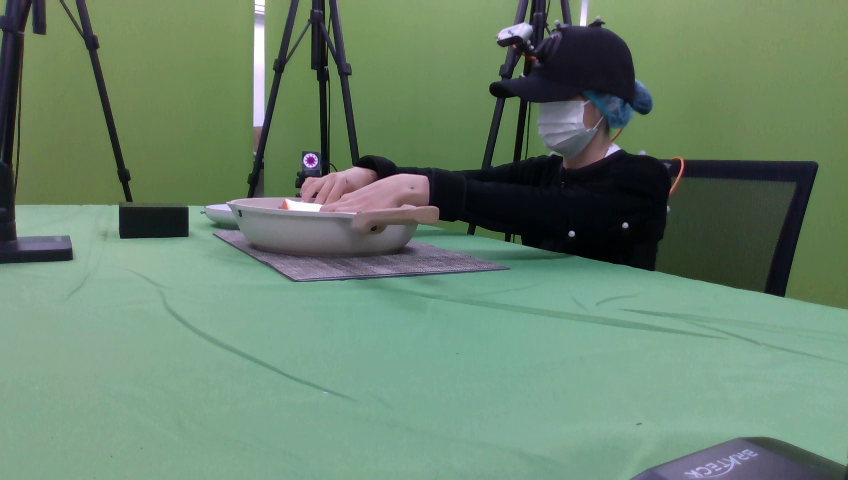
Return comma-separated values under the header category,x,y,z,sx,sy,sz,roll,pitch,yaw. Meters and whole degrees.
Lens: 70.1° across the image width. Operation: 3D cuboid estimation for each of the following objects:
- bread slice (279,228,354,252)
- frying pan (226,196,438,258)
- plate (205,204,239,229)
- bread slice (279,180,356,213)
category,x,y,z,sx,sy,sz,roll,pitch,yaw
bread slice,-0.172,-0.001,0.943,0.107,0.018,0.134,2,9,-15
frying pan,-0.103,-0.027,0.845,0.308,0.102,0.486,-2,0,-25
plate,-0.324,-0.046,1.199,0.208,0.039,0.207,3,7,0
bread slice,-0.171,-0.048,0.932,0.105,0.019,0.131,20,-24,-16
